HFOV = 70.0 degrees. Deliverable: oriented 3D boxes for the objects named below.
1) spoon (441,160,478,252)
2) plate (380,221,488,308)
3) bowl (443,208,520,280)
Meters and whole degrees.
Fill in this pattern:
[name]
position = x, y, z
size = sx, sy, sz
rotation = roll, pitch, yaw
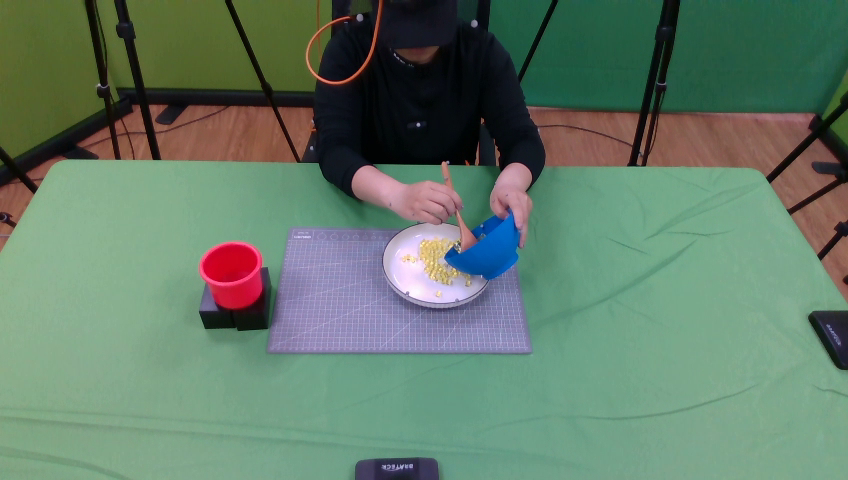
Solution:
[spoon]
position = 0.062, -0.050, 1.092
size = 0.041, 0.021, 0.193
rotation = -19, 91, -23
[plate]
position = 0.022, 0.048, 1.138
size = 0.208, 0.039, 0.206
rotation = 2, 46, -2
[bowl]
position = 0.117, 0.018, 1.075
size = 0.151, 0.151, 0.077
rotation = -42, 99, -34
